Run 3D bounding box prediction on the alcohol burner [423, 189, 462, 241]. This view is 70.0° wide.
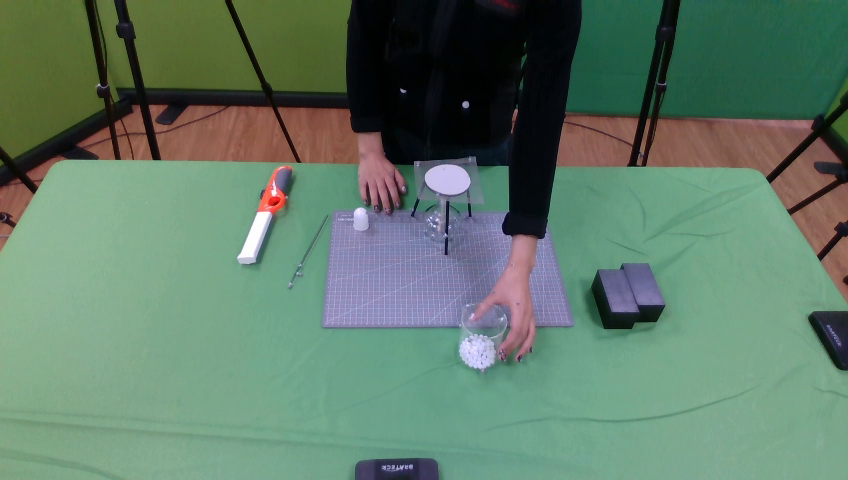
[{"bbox_3d":[0.037,-0.055,1.187,0.078,0.120,0.077,1,48,-1],"label":"alcohol burner"}]

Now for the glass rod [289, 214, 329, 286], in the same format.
[{"bbox_3d":[-0.221,0.014,1.179,0.008,0.008,0.199,12,46,8],"label":"glass rod"}]

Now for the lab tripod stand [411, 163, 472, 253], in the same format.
[{"bbox_3d":[0.042,-0.069,1.186,0.148,0.132,0.147,3,47,-3],"label":"lab tripod stand"}]

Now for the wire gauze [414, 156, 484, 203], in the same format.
[{"bbox_3d":[0.045,-0.114,1.136,0.125,0.011,0.120,-1,48,-4],"label":"wire gauze"}]

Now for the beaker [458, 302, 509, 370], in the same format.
[{"bbox_3d":[0.092,0.159,0.998,0.083,0.101,0.074,35,53,28],"label":"beaker"}]

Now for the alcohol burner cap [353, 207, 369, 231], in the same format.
[{"bbox_3d":[-0.127,-0.045,1.215,0.034,0.048,0.033,3,48,-3],"label":"alcohol burner cap"}]

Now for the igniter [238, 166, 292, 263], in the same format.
[{"bbox_3d":[-0.318,-0.060,1.229,0.057,0.025,0.275,-2,45,10],"label":"igniter"}]
